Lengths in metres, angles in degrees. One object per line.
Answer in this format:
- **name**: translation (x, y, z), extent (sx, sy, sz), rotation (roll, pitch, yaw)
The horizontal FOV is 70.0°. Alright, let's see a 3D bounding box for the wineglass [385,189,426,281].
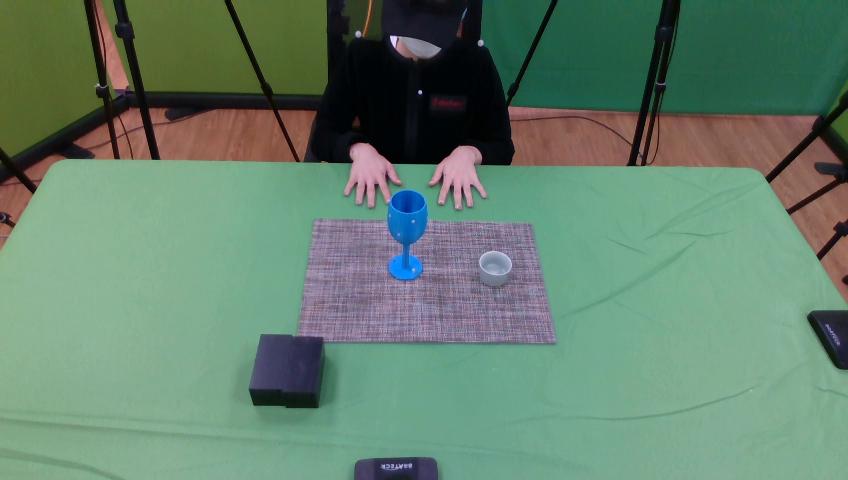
- **wineglass**: translation (-0.034, -0.006, 1.091), extent (0.074, 0.173, 0.073), rotation (2, 46, -2)

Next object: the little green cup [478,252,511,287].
- **little green cup**: translation (0.131, 0.057, 1.137), extent (0.061, 0.039, 0.061), rotation (2, 46, -2)
